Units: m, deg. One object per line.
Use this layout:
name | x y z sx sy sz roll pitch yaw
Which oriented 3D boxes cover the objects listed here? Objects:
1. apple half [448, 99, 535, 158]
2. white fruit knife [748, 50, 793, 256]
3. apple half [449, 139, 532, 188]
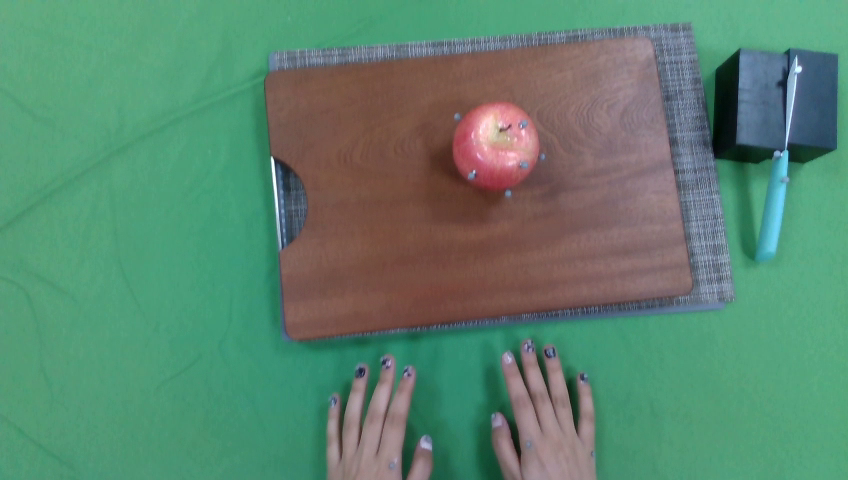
apple half | 0.065 -0.103 0.573 0.081 0.075 0.053 6 78 3
white fruit knife | 0.351 -0.084 0.608 0.016 0.027 0.207 4 97 -3
apple half | 0.060 -0.064 0.567 0.081 0.081 0.032 7 78 -1
